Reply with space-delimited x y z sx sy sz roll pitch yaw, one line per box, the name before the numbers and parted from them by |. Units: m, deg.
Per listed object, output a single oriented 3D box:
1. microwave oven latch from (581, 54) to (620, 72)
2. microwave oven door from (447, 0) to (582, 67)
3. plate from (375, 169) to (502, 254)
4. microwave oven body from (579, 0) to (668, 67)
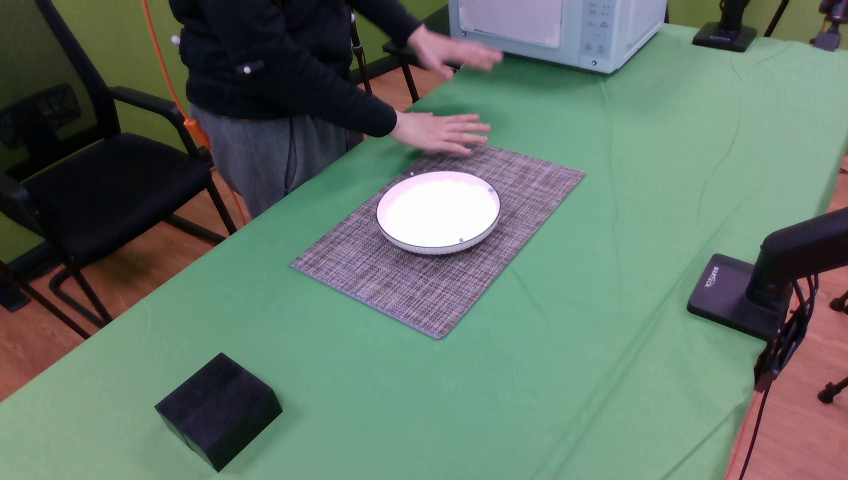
microwave oven latch | 0.386 -0.393 1.330 0.078 0.029 0.030 25 51 32
microwave oven door | 0.203 -0.544 1.372 0.353 0.245 0.039 23 49 29
plate | 0.024 -0.044 0.998 0.209 0.038 0.208 -3 41 4
microwave oven body | 0.325 -0.609 1.437 0.438 0.261 0.327 23 49 30
